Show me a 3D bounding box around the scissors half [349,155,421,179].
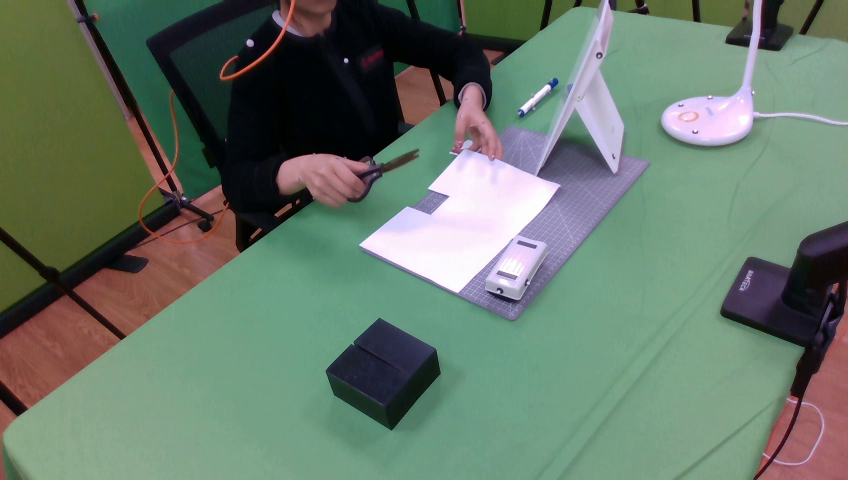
[{"bbox_3d":[-0.062,-0.119,0.946,0.174,0.013,0.040,2,64,49],"label":"scissors half"}]

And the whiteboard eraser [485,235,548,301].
[{"bbox_3d":[0.137,0.042,0.887,0.055,0.042,0.113,15,46,27],"label":"whiteboard eraser"}]

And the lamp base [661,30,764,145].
[{"bbox_3d":[0.535,-0.287,1.096,0.179,0.181,0.159,-10,40,-4],"label":"lamp base"}]

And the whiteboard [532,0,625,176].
[{"bbox_3d":[0.320,-0.259,1.050,0.144,0.306,0.217,21,45,5],"label":"whiteboard"}]

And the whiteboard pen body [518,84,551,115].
[{"bbox_3d":[0.242,-0.306,1.289,0.017,0.017,0.141,24,52,32],"label":"whiteboard pen body"}]

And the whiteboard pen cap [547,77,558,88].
[{"bbox_3d":[0.279,-0.341,1.321,0.018,0.018,0.033,22,52,31],"label":"whiteboard pen cap"}]

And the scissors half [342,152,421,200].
[{"bbox_3d":[-0.067,-0.100,0.937,0.174,0.013,0.040,-24,51,37],"label":"scissors half"}]
